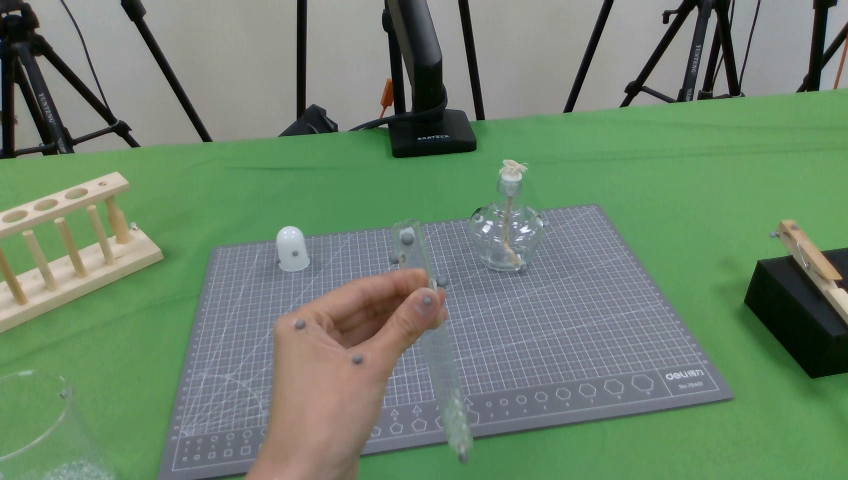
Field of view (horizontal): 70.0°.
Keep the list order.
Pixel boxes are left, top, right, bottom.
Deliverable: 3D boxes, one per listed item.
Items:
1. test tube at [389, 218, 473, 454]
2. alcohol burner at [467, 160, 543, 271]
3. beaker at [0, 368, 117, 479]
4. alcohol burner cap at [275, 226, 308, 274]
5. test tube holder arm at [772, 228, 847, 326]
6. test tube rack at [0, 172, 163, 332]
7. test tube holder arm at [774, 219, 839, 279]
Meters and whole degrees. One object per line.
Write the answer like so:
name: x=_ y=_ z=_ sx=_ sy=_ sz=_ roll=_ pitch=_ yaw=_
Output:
test tube: x=0.006 y=0.058 z=0.335 sx=0.017 sy=0.151 sz=0.017 roll=-12 pitch=22 yaw=5
alcohol burner: x=0.083 y=-0.028 z=0.611 sx=0.078 sy=0.120 sz=0.077 roll=0 pitch=36 yaw=0
beaker: x=-0.260 y=0.147 z=0.404 sx=0.084 sy=0.101 sz=0.073 roll=-2 pitch=36 yaw=2
alcohol burner cap: x=-0.141 y=0.008 z=0.635 sx=0.034 sy=0.048 sz=0.033 roll=-2 pitch=36 yaw=2
test tube holder arm: x=0.340 y=0.040 z=0.509 sx=0.015 sy=0.013 sz=0.176 roll=-1 pitch=36 yaw=1
test tube rack: x=-0.398 y=0.024 z=0.594 sx=0.242 sy=0.086 sz=0.066 roll=-29 pitch=44 yaw=-32
test tube holder arm: x=0.341 y=0.009 z=0.542 sx=0.015 sy=0.010 sz=0.087 roll=-1 pitch=37 yaw=1
